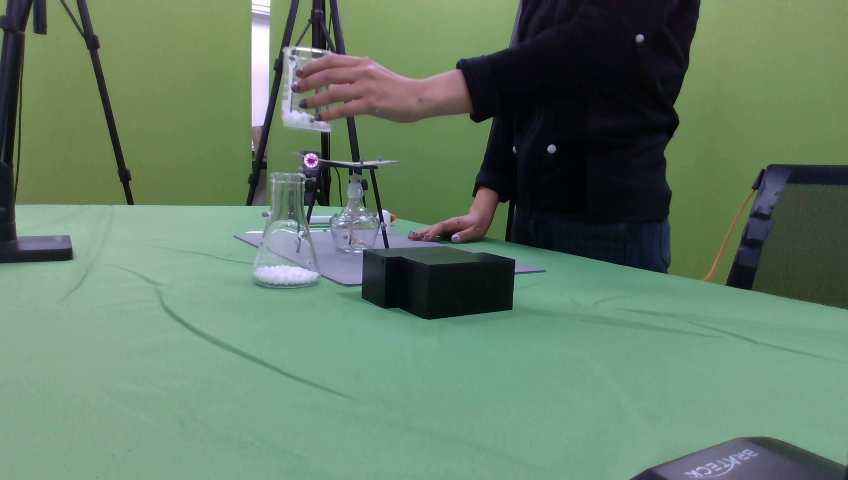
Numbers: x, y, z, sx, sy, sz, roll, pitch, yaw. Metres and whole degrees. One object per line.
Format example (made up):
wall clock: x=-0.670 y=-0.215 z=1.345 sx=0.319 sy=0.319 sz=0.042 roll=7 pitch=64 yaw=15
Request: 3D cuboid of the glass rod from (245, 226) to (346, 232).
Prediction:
glass rod: x=-0.237 y=-0.021 z=1.141 sx=0.201 sy=0.008 sz=0.008 roll=-2 pitch=8 yaw=-33

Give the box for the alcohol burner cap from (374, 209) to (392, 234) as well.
alcohol burner cap: x=-0.078 y=-0.036 z=1.148 sx=0.034 sy=0.048 sz=0.034 roll=2 pitch=8 yaw=0

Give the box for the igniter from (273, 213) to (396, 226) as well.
igniter: x=-0.179 y=-0.044 z=1.258 sx=0.278 sy=0.025 sz=0.057 roll=-3 pitch=-1 yaw=-39

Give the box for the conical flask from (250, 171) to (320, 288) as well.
conical flask: x=-0.150 y=-0.013 z=0.658 sx=0.075 sy=0.122 sz=0.075 roll=2 pitch=7 yaw=0

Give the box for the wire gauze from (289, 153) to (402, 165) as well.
wire gauze: x=-0.112 y=-0.116 z=0.884 sx=0.124 sy=0.011 sz=0.122 roll=7 pitch=8 yaw=27

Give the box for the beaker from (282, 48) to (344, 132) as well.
beaker: x=-0.152 y=-0.196 z=0.803 sx=0.083 sy=0.100 sz=0.074 roll=9 pitch=7 yaw=32

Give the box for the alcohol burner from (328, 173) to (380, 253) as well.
alcohol burner: x=-0.104 y=-0.041 z=0.902 sx=0.078 sy=0.119 sz=0.078 roll=0 pitch=7 yaw=0

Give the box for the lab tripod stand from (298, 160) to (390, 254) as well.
lab tripod stand: x=-0.111 y=-0.050 z=0.893 sx=0.148 sy=0.131 sz=0.148 roll=4 pitch=6 yaw=0
